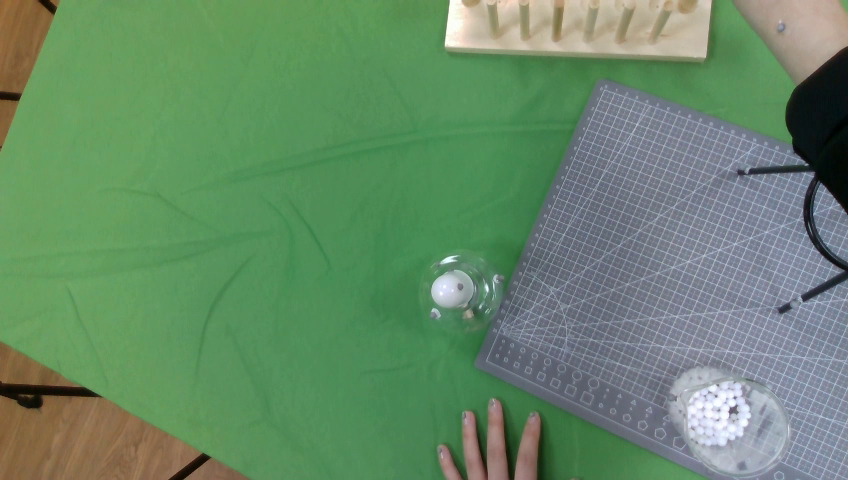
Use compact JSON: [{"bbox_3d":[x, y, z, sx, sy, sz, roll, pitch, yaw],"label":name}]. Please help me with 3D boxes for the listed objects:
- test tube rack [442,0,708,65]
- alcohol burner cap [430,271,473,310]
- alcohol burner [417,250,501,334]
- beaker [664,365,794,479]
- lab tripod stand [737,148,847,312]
[{"bbox_3d":[0.133,-0.210,0.546,0.242,0.085,0.066,6,87,12],"label":"test tube rack"},{"bbox_3d":[0.021,0.043,0.503,0.034,0.048,0.034,0,90,13],"label":"alcohol burner cap"},{"bbox_3d":[0.029,0.046,0.538,0.078,0.119,0.077,-1,84,10],"label":"alcohol burner"},{"bbox_3d":[0.238,0.141,0.494,0.083,0.100,0.074,30,92,13],"label":"beaker"},{"bbox_3d":[0.318,-0.012,0.469,0.148,0.132,0.148,0,88,11],"label":"lab tripod stand"}]
